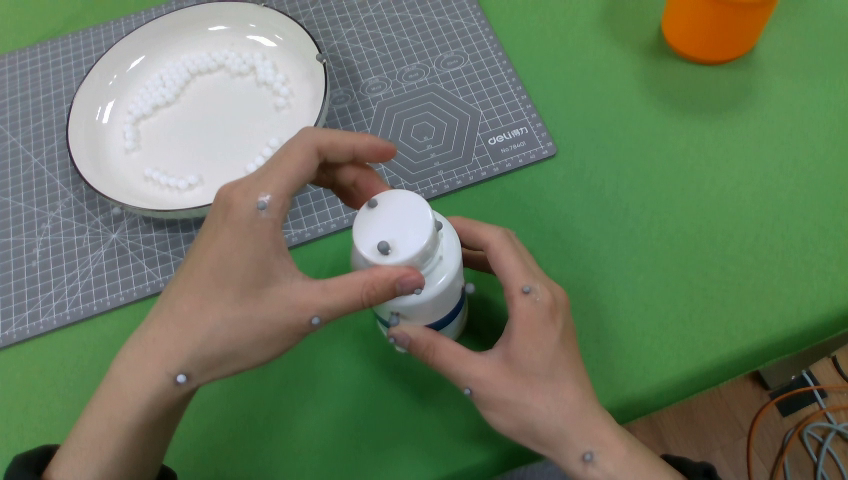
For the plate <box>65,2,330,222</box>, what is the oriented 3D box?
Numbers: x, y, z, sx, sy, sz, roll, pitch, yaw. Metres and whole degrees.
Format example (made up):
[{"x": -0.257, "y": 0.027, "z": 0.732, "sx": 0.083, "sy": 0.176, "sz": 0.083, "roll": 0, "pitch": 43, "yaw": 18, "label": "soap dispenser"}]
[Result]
[{"x": -0.175, "y": -0.102, "z": 0.485, "sx": 0.207, "sy": 0.039, "sz": 0.206, "roll": -2, "pitch": 64, "yaw": 5, "label": "plate"}]

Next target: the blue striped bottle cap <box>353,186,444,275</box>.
[{"x": -0.013, "y": -0.005, "z": 0.312, "sx": 0.044, "sy": 0.021, "sz": 0.044, "roll": -7, "pitch": 64, "yaw": 15, "label": "blue striped bottle cap"}]

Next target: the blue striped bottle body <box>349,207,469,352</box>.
[{"x": -0.007, "y": 0.021, "z": 0.364, "sx": 0.063, "sy": 0.122, "sz": 0.062, "roll": -3, "pitch": 63, "yaw": 6, "label": "blue striped bottle body"}]
